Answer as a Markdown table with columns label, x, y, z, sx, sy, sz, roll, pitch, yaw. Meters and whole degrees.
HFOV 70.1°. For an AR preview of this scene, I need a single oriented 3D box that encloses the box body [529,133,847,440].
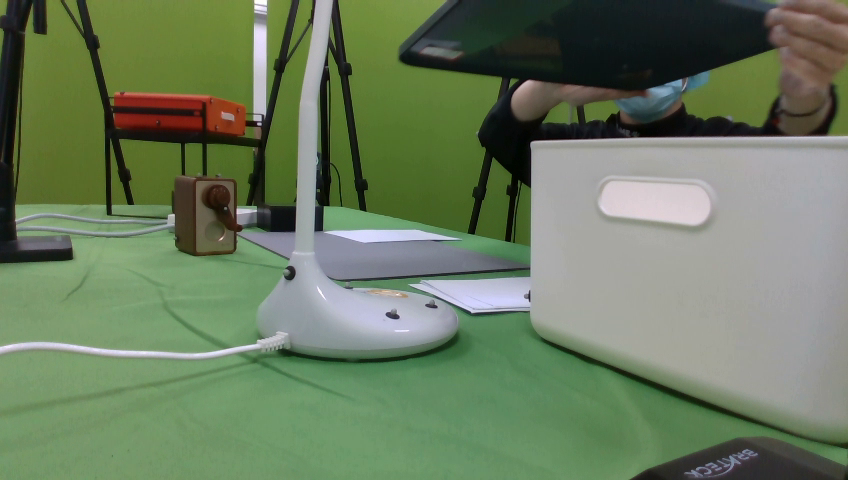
| label | x | y | z | sx | sy | sz | roll | pitch | yaw |
| --- | --- | --- | --- | --- | --- | --- | --- | --- | --- |
| box body | 0.287 | 0.007 | 0.473 | 0.366 | 0.160 | 0.253 | -3 | 8 | -33 |

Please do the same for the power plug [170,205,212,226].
| label | x | y | z | sx | sy | sz | roll | pitch | yaw |
| --- | --- | --- | --- | --- | --- | --- | --- | --- | --- |
| power plug | -0.455 | -0.041 | 1.196 | 0.052 | 0.035 | 0.072 | 1 | 42 | 23 |

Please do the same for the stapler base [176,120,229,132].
| label | x | y | z | sx | sy | sz | roll | pitch | yaw |
| --- | --- | --- | --- | --- | --- | --- | --- | --- | --- |
| stapler base | -0.496 | -0.257 | 1.364 | 0.041 | 0.024 | 0.131 | 2 | 9 | 22 |

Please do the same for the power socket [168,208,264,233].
| label | x | y | z | sx | sy | sz | roll | pitch | yaw |
| --- | --- | --- | --- | --- | --- | --- | --- | --- | --- |
| power socket | -0.381 | -0.038 | 1.129 | 0.072 | 0.032 | 0.227 | 4 | 8 | 17 |

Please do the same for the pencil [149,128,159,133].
| label | x | y | z | sx | sy | sz | roll | pitch | yaw |
| --- | --- | --- | --- | --- | --- | --- | --- | --- | --- |
| pencil | -0.528 | -0.258 | 1.361 | 0.012 | 0.012 | 0.195 | 8 | 20 | 35 |

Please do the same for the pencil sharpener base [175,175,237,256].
| label | x | y | z | sx | sy | sz | roll | pitch | yaw |
| --- | --- | --- | --- | --- | --- | --- | --- | --- | --- |
| pencil sharpener base | -0.304 | -0.036 | 0.847 | 0.062 | 0.107 | 0.076 | -4 | 10 | -42 |

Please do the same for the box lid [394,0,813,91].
| label | x | y | z | sx | sy | sz | roll | pitch | yaw |
| --- | --- | --- | --- | --- | --- | --- | --- | --- | --- |
| box lid | 0.179 | -0.211 | 0.638 | 0.373 | 0.015 | 0.262 | 0 | -2 | -24 |

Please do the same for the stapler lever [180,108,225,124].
| label | x | y | z | sx | sy | sz | roll | pitch | yaw |
| --- | --- | --- | --- | --- | --- | --- | --- | --- | --- |
| stapler lever | -0.496 | -0.281 | 1.359 | 0.027 | 0.040 | 0.118 | 2 | 7 | 22 |

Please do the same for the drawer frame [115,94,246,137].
| label | x | y | z | sx | sy | sz | roll | pitch | yaw |
| --- | --- | --- | --- | --- | --- | --- | --- | --- | --- |
| drawer frame | -0.543 | -0.281 | 1.374 | 0.213 | 0.082 | 0.201 | 2 | 8 | 4 |

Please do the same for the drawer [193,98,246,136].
| label | x | y | z | sx | sy | sz | roll | pitch | yaw |
| --- | --- | --- | --- | --- | --- | --- | --- | --- | --- |
| drawer | -0.539 | -0.279 | 1.374 | 0.212 | 0.073 | 0.194 | 2 | 8 | 5 |

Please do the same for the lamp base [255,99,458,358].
| label | x | y | z | sx | sy | sz | roll | pitch | yaw |
| --- | --- | --- | --- | --- | --- | --- | --- | --- | --- |
| lamp base | -0.056 | -0.013 | 0.462 | 0.160 | 0.180 | 0.180 | 6 | 11 | 27 |

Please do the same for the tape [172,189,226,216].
| label | x | y | z | sx | sy | sz | roll | pitch | yaw |
| --- | --- | --- | --- | --- | --- | --- | --- | --- | --- |
| tape | -0.515 | -0.087 | 1.388 | 0.117 | 0.052 | 0.117 | 3 | 8 | 0 |

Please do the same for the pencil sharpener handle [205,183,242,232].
| label | x | y | z | sx | sy | sz | roll | pitch | yaw |
| --- | --- | --- | --- | --- | --- | --- | --- | --- | --- |
| pencil sharpener handle | -0.265 | -0.043 | 0.812 | 0.036 | 0.068 | 0.030 | -31 | 27 | -35 |
